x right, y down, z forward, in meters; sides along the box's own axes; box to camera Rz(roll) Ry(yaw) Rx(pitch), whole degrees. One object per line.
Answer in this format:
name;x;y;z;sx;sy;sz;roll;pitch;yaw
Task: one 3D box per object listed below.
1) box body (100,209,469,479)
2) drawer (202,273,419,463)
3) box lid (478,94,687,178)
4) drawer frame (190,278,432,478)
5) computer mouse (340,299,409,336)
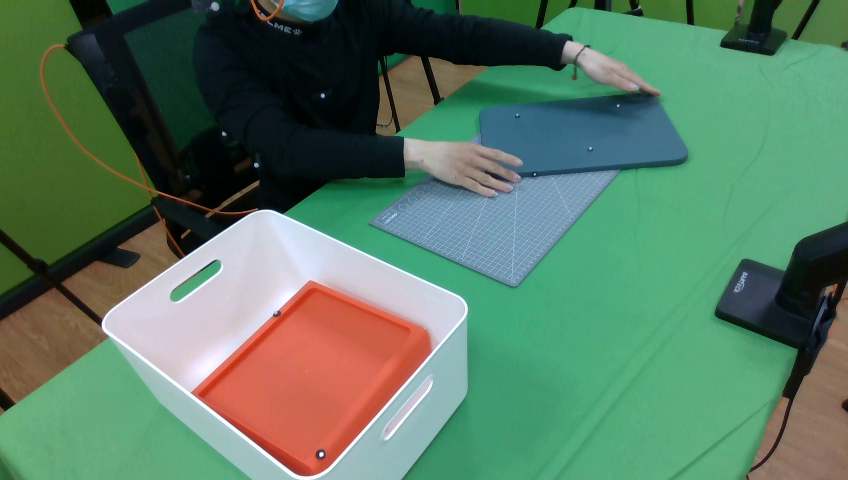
box body;-0.152;0.140;0.722;0.361;0.161;0.255;22;49;30
drawer;-0.135;0.168;0.727;0.193;0.073;0.211;20;63;23
box lid;0.292;-0.209;1.182;0.371;0.015;0.262;-4;40;3
drawer frame;-0.129;0.167;0.738;0.200;0.083;0.214;19;48;27
computer mouse;-0.074;0.109;0.773;0.117;0.041;0.062;-10;43;6
